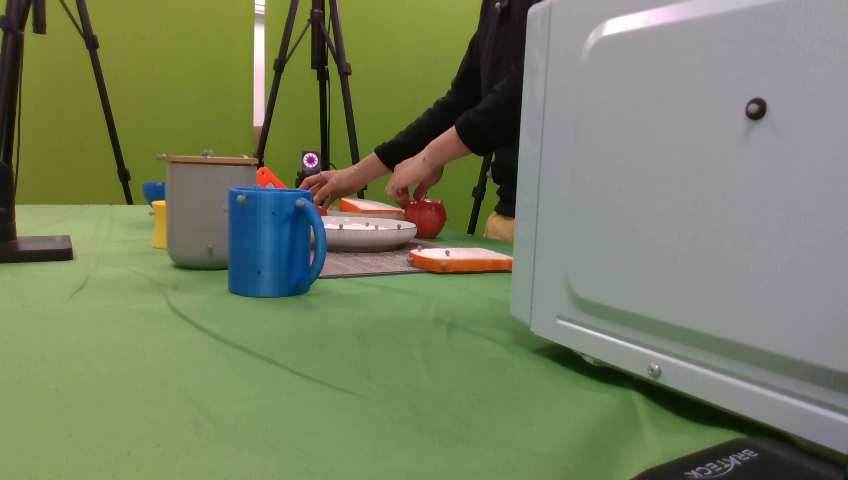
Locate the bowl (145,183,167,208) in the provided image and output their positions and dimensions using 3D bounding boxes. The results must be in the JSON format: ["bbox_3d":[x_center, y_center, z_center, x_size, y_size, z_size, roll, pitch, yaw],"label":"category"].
[{"bbox_3d":[-0.459,-0.068,1.175,0.151,0.077,0.151,2,7,0],"label":"bowl"}]

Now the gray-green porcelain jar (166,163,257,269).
[{"bbox_3d":[-0.263,-0.032,0.754,0.106,0.126,0.106,2,7,0],"label":"gray-green porcelain jar"}]

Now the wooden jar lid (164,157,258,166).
[{"bbox_3d":[-0.261,-0.093,0.746,0.108,0.020,0.108,1,9,0],"label":"wooden jar lid"}]

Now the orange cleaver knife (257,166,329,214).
[{"bbox_3d":[-0.295,-0.086,1.333,0.012,0.077,0.212,3,-23,46],"label":"orange cleaver knife"}]

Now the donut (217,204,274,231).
[{"bbox_3d":[-0.318,-0.038,1.080,0.099,0.048,0.099,3,7,0],"label":"donut"}]

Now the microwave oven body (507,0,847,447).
[{"bbox_3d":[0.331,-0.042,0.425,0.444,0.260,0.324,-2,8,-31],"label":"microwave oven body"}]

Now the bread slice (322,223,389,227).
[{"bbox_3d":[-0.116,-0.014,0.974,0.135,0.018,0.106,-6,11,-42],"label":"bread slice"}]

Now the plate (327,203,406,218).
[{"bbox_3d":[-0.102,-0.053,1.299,0.209,0.038,0.209,2,8,0],"label":"plate"}]

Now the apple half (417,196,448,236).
[{"bbox_3d":[0.024,-0.045,1.125,0.032,0.081,0.082,3,7,42],"label":"apple half"}]

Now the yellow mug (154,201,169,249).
[{"bbox_3d":[-0.337,-0.022,0.899,0.130,0.064,0.100,8,9,34],"label":"yellow mug"}]

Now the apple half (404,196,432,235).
[{"bbox_3d":[-0.007,-0.047,1.149,0.053,0.074,0.081,2,9,41],"label":"apple half"}]

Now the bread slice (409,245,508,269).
[{"bbox_3d":[0.048,0.021,0.816,0.132,0.019,0.104,0,7,-24],"label":"bread slice"}]

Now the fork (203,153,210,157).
[{"bbox_3d":[-0.480,-0.136,1.411,0.028,0.018,0.207,1,-34,-1],"label":"fork"}]

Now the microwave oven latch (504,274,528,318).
[{"bbox_3d":[0.100,0.041,0.471,0.079,0.029,0.030,-1,8,-28],"label":"microwave oven latch"}]

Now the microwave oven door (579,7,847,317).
[{"bbox_3d":[0.294,-0.067,0.570,0.358,0.243,0.039,-3,9,-31],"label":"microwave oven door"}]

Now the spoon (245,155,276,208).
[{"bbox_3d":[-0.421,-0.150,1.540,0.042,0.021,0.193,-5,55,-37],"label":"spoon"}]

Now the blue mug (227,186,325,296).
[{"bbox_3d":[-0.146,0.000,0.618,0.116,0.106,0.083,7,9,32],"label":"blue mug"}]

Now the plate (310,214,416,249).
[{"bbox_3d":[-0.117,-0.014,0.967,0.208,0.039,0.207,2,7,0],"label":"plate"}]
